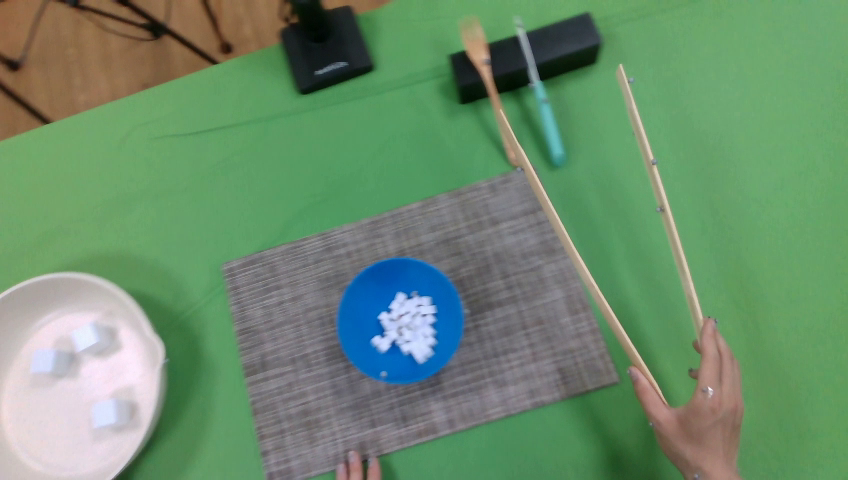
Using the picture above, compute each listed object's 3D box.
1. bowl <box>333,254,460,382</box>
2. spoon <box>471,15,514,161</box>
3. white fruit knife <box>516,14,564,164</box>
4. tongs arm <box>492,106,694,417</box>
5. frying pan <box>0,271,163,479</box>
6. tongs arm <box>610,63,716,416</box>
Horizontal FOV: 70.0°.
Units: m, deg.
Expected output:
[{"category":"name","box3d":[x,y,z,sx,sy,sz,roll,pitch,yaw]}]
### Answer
[{"category":"bowl","box3d":[-0.028,0.099,0.740,0.151,0.077,0.150,-2,74,6]},{"category":"spoon","box3d":[0.095,-0.200,0.808,0.041,0.022,0.194,-9,94,27]},{"category":"white fruit knife","box3d":[0.152,-0.204,0.809,0.016,0.027,0.207,-16,88,-3]},{"category":"tongs arm","box3d":[0.172,0.021,0.653,0.028,0.028,0.386,-28,83,-8]},{"category":"frying pan","box3d":[-0.436,0.276,0.723,0.307,0.103,0.483,-18,65,2]},{"category":"tongs arm","box3d":[0.246,-0.006,0.656,0.051,0.026,0.383,-16,83,-3]}]
